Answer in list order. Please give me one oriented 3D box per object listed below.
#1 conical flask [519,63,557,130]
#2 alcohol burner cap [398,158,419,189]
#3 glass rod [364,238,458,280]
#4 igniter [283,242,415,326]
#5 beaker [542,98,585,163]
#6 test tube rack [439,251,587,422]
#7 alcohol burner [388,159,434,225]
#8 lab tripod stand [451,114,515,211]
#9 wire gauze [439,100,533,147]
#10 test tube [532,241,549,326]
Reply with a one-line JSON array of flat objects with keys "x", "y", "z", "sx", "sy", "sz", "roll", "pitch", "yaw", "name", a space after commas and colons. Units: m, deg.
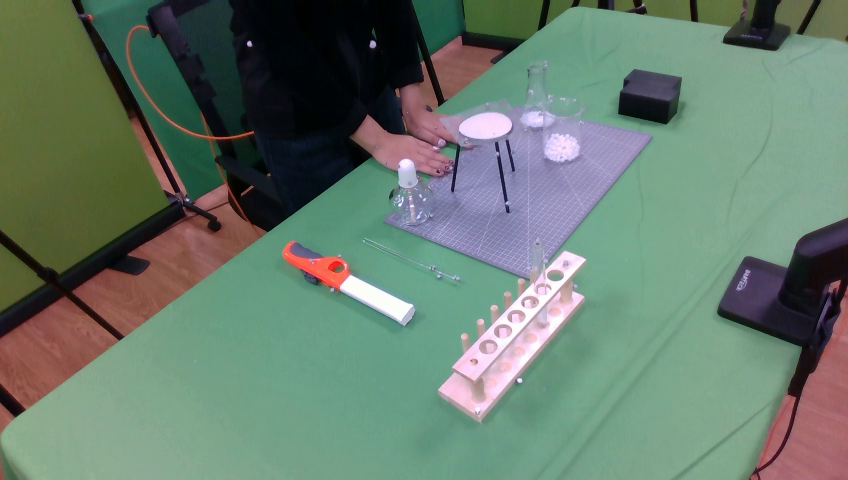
[{"x": 0.225, "y": -0.287, "z": 1.199, "sx": 0.075, "sy": 0.122, "sz": 0.075, "roll": -6, "pitch": 40, "yaw": 5, "name": "conical flask"}, {"x": -0.028, "y": -0.111, "z": 0.989, "sx": 0.034, "sy": 0.048, "sz": 0.033, "roll": -3, "pitch": 46, "yaw": 4, "name": "alcohol burner cap"}, {"x": -0.026, "y": 0.029, "z": 0.966, "sx": 0.198, "sy": 0.008, "sz": 0.008, "roll": 21, "pitch": 49, "yaw": 35, "name": "glass rod"}, {"x": -0.126, "y": 0.062, "z": 0.931, "sx": 0.274, "sy": 0.025, "sz": 0.057, "roll": 24, "pitch": 61, "yaw": 33, "name": "igniter"}, {"x": 0.255, "y": -0.200, "z": 1.107, "sx": 0.073, "sy": 0.101, "sz": 0.084, "roll": 9, "pitch": 43, "yaw": 21, "name": "beaker"}, {"x": 0.118, "y": 0.111, "z": 0.780, "sx": 0.066, "sy": 0.085, "sz": 0.243, "roll": 26, "pitch": 51, "yaw": 35, "name": "test tube rack"}, {"x": -0.023, "y": -0.084, "z": 1.013, "sx": 0.078, "sy": 0.119, "sz": 0.077, "roll": -4, "pitch": 38, "yaw": 4, "name": "alcohol burner"}, {"x": 0.113, "y": -0.140, "z": 1.037, "sx": 0.148, "sy": 0.132, "sz": 0.147, "roll": -6, "pitch": 38, "yaw": 5, "name": "lab tripod stand"}, {"x": 0.100, "y": -0.190, "z": 0.994, "sx": 0.125, "sy": 0.011, "sz": 0.120, "roll": -15, "pitch": 39, "yaw": -7, "name": "wire gauze"}, {"x": 0.147, "y": 0.059, "z": 0.761, "sx": 0.017, "sy": 0.151, "sz": 0.017, "roll": -7, "pitch": 43, "yaw": 7, "name": "test tube"}]
